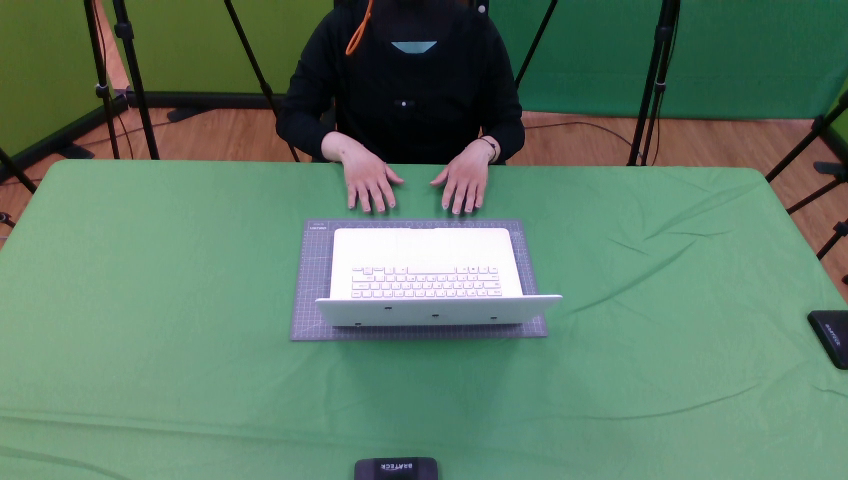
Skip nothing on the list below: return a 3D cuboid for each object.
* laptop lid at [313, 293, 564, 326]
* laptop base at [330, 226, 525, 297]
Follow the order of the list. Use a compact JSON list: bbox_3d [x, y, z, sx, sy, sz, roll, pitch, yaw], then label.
[{"bbox_3d":[0.017,0.112,0.945,0.357,0.242,0.013,0,74,-5],"label":"laptop lid"},{"bbox_3d":[0.005,0.061,1.137,0.355,0.023,0.234,0,43,-4],"label":"laptop base"}]
